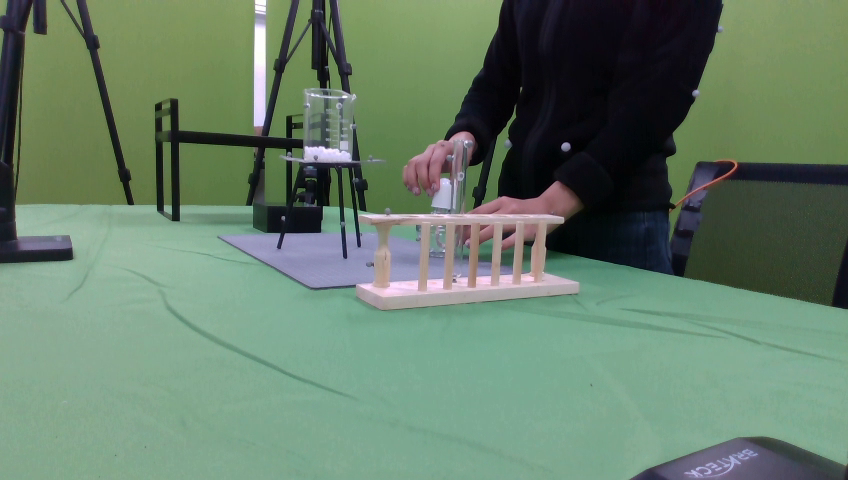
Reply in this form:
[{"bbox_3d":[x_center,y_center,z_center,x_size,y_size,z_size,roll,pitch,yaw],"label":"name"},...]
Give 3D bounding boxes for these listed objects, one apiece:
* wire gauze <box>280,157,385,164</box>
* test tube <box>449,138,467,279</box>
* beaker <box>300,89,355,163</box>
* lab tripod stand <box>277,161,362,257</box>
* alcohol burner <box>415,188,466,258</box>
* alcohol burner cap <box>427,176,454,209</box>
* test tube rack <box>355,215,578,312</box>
[{"bbox_3d":[-0.134,-0.113,0.875,0.122,0.011,0.124,-1,6,-30],"label":"wire gauze"},{"bbox_3d":[0.035,-0.033,0.645,0.017,0.150,0.017,3,4,0],"label":"test tube"},{"bbox_3d":[-0.136,-0.161,0.867,0.083,0.100,0.074,5,8,24],"label":"beaker"},{"bbox_3d":[-0.143,-0.049,0.884,0.148,0.131,0.148,1,9,0],"label":"lab tripod stand"},{"bbox_3d":[0.025,-0.033,0.902,0.078,0.119,0.078,2,5,0],"label":"alcohol burner"},{"bbox_3d":[0.028,-0.072,0.904,0.034,0.048,0.034,22,11,-4],"label":"alcohol burner cap"},{"bbox_3d":[0.053,0.018,0.641,0.243,0.085,0.066,-1,8,-29],"label":"test tube rack"}]
